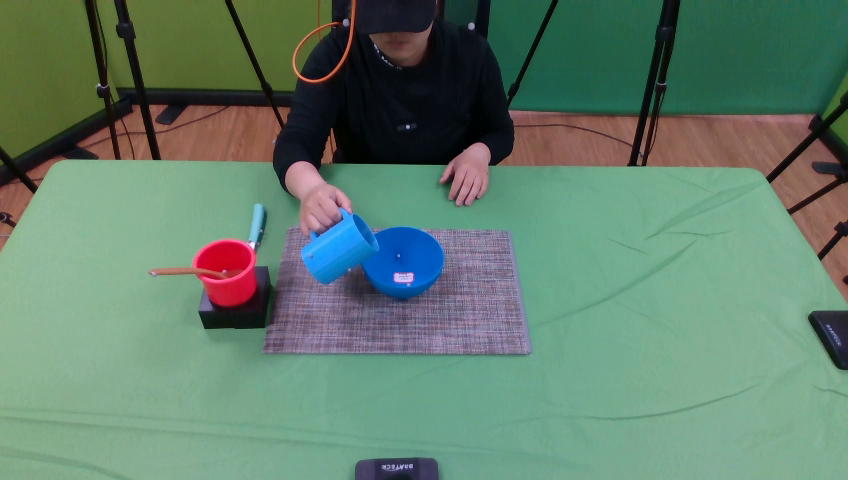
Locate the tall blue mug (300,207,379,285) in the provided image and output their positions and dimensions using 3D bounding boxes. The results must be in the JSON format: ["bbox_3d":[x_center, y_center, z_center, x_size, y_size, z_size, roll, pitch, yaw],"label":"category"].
[{"bbox_3d":[-0.149,0.001,1.009,0.108,0.078,0.107,-33,89,11],"label":"tall blue mug"}]

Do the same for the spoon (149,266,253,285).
[{"bbox_3d":[-0.351,0.052,0.968,0.041,0.021,0.194,41,12,28],"label":"spoon"}]

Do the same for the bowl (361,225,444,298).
[{"bbox_3d":[-0.040,0.053,1.099,0.151,0.077,0.150,2,46,-2],"label":"bowl"}]

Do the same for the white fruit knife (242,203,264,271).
[{"bbox_3d":[-0.334,0.001,1.178,0.027,0.016,0.206,-18,46,16],"label":"white fruit knife"}]
